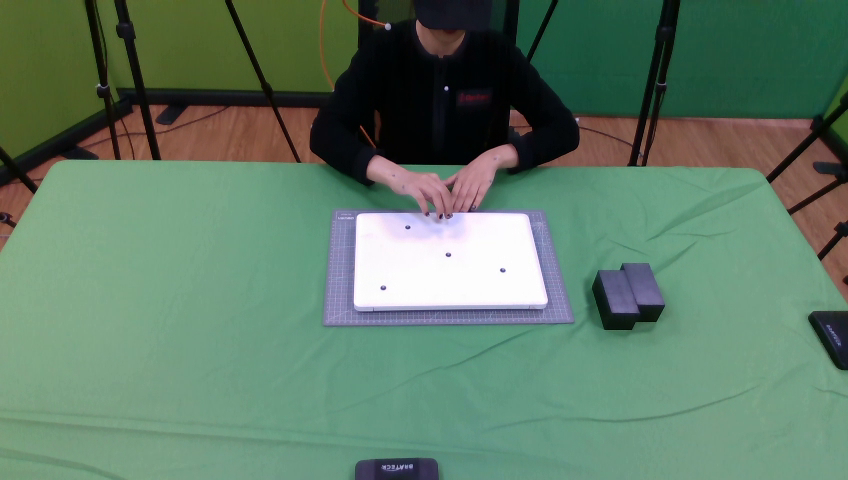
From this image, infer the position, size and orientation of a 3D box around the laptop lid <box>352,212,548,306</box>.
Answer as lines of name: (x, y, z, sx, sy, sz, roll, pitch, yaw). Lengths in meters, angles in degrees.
laptop lid: (0.044, 0.030, 1.150, 0.357, 0.013, 0.240, 1, 48, -4)

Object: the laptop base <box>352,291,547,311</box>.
laptop base: (0.043, 0.044, 1.162, 0.355, 0.023, 0.234, 0, 43, -5)
